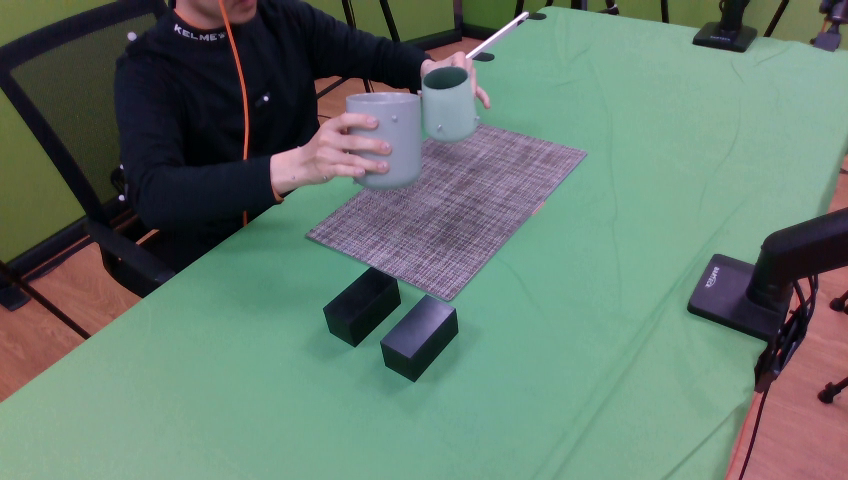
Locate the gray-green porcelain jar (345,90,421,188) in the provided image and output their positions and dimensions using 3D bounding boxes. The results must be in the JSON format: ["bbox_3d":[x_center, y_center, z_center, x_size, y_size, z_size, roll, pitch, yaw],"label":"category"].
[{"bbox_3d":[-0.057,-0.145,0.869,0.106,0.127,0.105,-1,21,1],"label":"gray-green porcelain jar"}]

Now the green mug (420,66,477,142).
[{"bbox_3d":[0.041,-0.239,1.033,0.092,0.105,0.125,-2,43,10],"label":"green mug"}]
